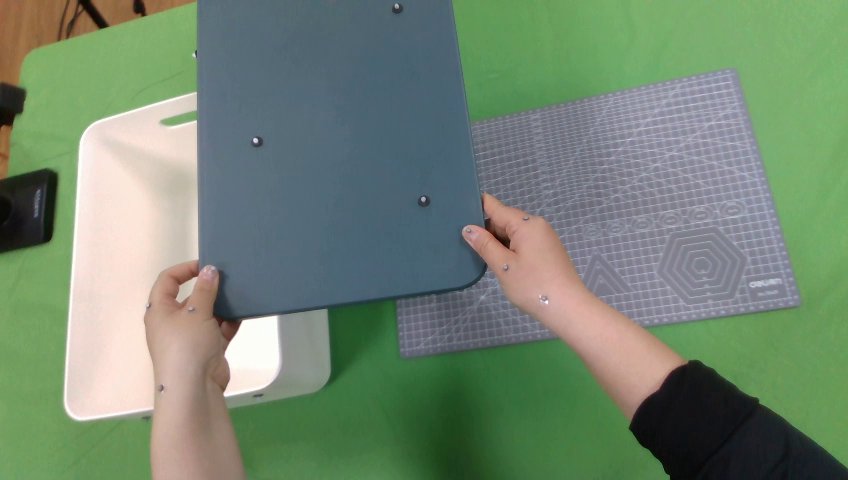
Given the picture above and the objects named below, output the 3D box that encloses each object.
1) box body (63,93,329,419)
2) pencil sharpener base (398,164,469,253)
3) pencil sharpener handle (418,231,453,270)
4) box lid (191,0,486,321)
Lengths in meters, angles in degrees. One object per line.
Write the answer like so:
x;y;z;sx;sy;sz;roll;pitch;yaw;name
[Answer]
-0.268;0.023;0.746;0.254;0.161;0.361;-12;71;10;box body
0.014;-0.031;0.718;0.061;0.108;0.076;-9;72;11;pencil sharpener base
0.018;0.013;0.691;0.036;0.068;0.030;-12;71;19;pencil sharpener handle
-0.093;-0.119;0.580;0.263;0.015;0.369;-9;74;3;box lid
